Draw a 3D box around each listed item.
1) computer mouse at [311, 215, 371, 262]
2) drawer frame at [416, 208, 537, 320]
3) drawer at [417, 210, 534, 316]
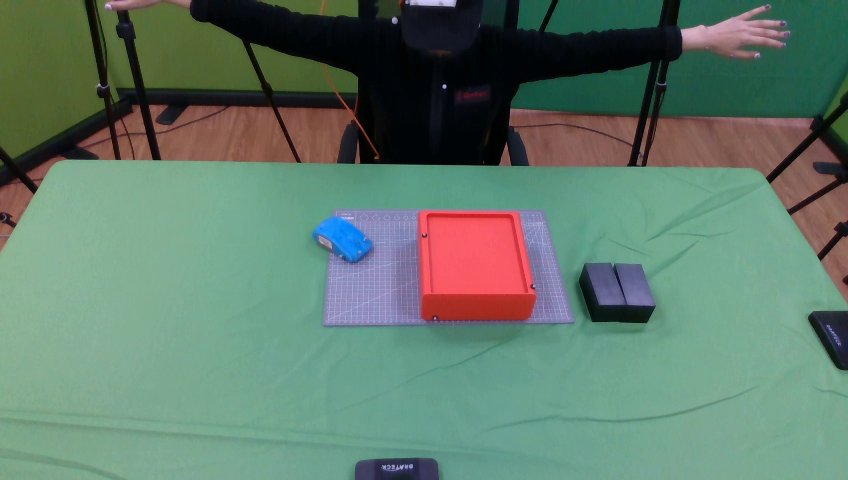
[{"bbox_3d":[-0.160,-0.007,1.178,0.117,0.041,0.062,32,50,19],"label":"computer mouse"},{"bbox_3d":[0.089,0.040,1.120,0.202,0.083,0.212,0,47,-5],"label":"drawer frame"},{"bbox_3d":[0.088,0.040,1.122,0.195,0.073,0.210,1,47,-4],"label":"drawer"}]
